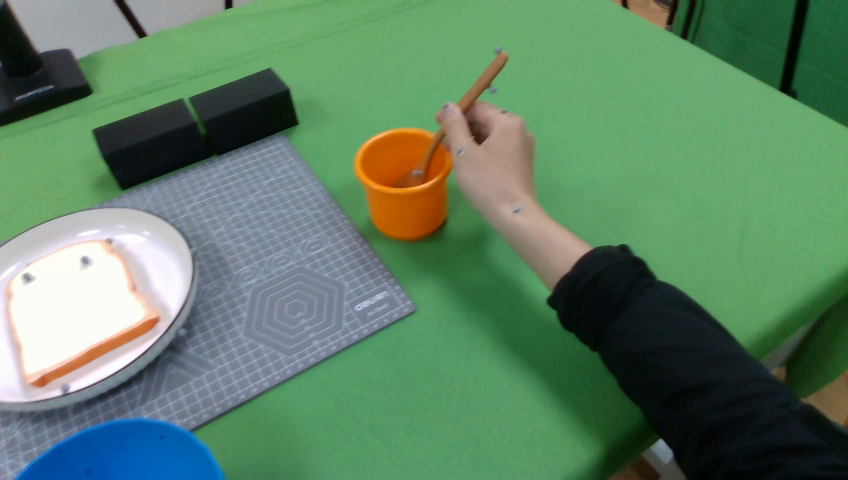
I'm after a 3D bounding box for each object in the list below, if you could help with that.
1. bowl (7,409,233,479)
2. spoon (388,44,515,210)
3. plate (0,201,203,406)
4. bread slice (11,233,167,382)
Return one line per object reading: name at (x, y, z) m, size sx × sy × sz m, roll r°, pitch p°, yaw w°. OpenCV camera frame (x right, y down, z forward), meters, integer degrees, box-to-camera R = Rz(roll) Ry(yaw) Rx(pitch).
bowl at (-0.183, 0.191, 0.375) m, size 0.151 × 0.077 × 0.150 m, roll -1°, pitch 49°, yaw 2°
spoon at (0.021, -0.097, 0.550) m, size 0.022 × 0.194 × 0.041 m, roll 6°, pitch 47°, yaw -35°
plate at (-0.295, 0.051, 0.526) m, size 0.209 × 0.038 × 0.207 m, roll -2°, pitch 49°, yaw 2°
bread slice at (-0.301, 0.051, 0.530) m, size 0.107 × 0.018 × 0.133 m, roll -33°, pitch 57°, yaw -22°
